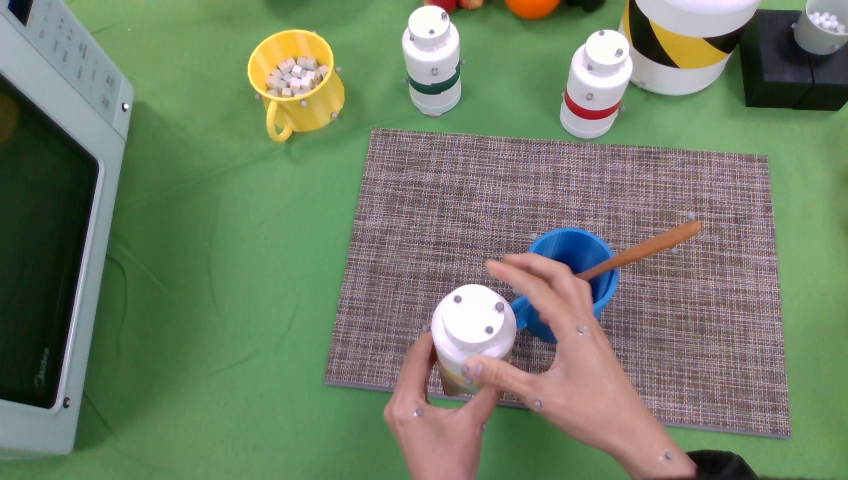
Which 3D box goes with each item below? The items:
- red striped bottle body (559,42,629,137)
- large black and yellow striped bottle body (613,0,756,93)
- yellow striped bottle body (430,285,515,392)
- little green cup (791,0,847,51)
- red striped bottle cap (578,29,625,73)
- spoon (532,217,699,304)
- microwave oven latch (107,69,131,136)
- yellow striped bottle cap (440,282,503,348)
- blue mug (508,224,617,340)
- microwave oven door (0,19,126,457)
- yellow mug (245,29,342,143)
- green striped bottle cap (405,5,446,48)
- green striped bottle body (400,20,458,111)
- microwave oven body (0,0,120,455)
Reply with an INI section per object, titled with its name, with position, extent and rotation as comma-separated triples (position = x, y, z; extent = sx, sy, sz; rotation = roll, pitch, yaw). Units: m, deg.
[red striped bottle body]
position = 0.184, -0.170, 0.656
extent = 0.063, 0.120, 0.062
rotation = -2, 66, 6
[large black and yellow striped bottle body]
position = 0.283, -0.263, 0.652
extent = 0.131, 0.185, 0.130
rotation = -2, 68, 4
[yellow striped bottle body]
position = 0.037, 0.075, 0.471
extent = 0.063, 0.121, 0.062
rotation = -2, 64, 4
[little green cup]
position = 0.432, -0.237, 0.653
extent = 0.061, 0.039, 0.061
rotation = 0, 66, 1
[red striped bottle cap]
position = 0.179, -0.190, 0.608
extent = 0.044, 0.018, 0.044
rotation = 0, 67, 0
[spoon]
position = 0.157, 0.025, 0.537
extent = 0.022, 0.194, 0.041
rotation = 6, 64, -31
[microwave oven latch]
position = -0.371, -0.163, 0.721
extent = 0.030, 0.030, 0.078
rotation = -2, 69, 3
[yellow striped bottle cap]
position = 0.033, 0.052, 0.423
extent = 0.044, 0.019, 0.044
rotation = -1, 65, 3
[blue mug]
position = 0.118, 0.052, 0.577
extent = 0.116, 0.106, 0.081
rotation = -30, 68, -8
[microwave oven door]
position = -0.372, 0.001, 0.545
extent = 0.039, 0.245, 0.353
rotation = -4, 68, 4
[yellow mug]
position = -0.158, -0.175, 0.714
extent = 0.099, 0.064, 0.130
rotation = 14, 70, 10
[green striped bottle cap]
position = 0.001, -0.225, 0.636
extent = 0.044, 0.020, 0.044
rotation = -1, 68, 2
[green striped bottle body]
position = 0.007, -0.204, 0.684
extent = 0.063, 0.120, 0.062
rotation = -1, 68, 4
[microwave oven body]
position = -0.519, -0.027, 0.573
extent = 0.326, 0.262, 0.438
rotation = -4, 68, 3
